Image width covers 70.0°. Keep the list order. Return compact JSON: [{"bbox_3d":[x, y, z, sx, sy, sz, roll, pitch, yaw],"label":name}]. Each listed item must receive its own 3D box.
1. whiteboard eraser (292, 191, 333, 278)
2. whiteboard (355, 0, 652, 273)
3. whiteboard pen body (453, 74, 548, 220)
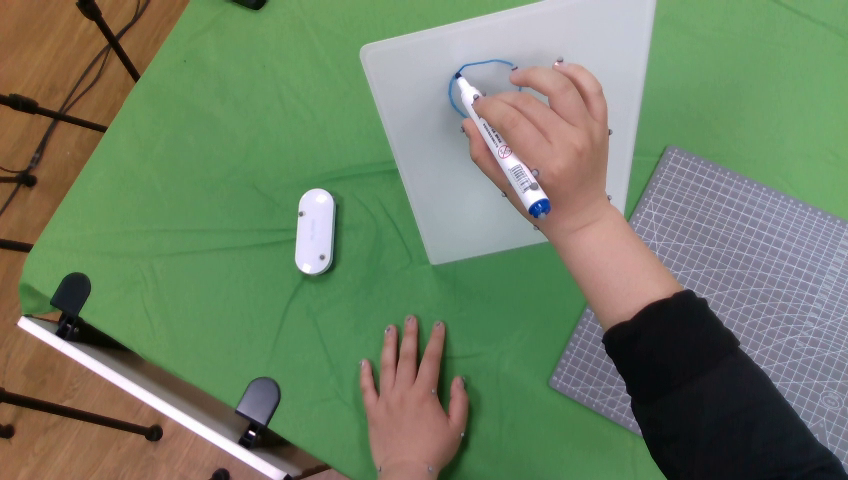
[{"bbox_3d":[-0.127,-0.007,0.695,0.041,0.019,0.101,0,77,6],"label":"whiteboard eraser"},{"bbox_3d":[0.075,-0.128,0.586,0.217,0.308,0.142,-12,55,5],"label":"whiteboard"},{"bbox_3d":[0.049,-0.071,0.427,0.017,0.017,0.139,-26,61,1],"label":"whiteboard pen body"}]
